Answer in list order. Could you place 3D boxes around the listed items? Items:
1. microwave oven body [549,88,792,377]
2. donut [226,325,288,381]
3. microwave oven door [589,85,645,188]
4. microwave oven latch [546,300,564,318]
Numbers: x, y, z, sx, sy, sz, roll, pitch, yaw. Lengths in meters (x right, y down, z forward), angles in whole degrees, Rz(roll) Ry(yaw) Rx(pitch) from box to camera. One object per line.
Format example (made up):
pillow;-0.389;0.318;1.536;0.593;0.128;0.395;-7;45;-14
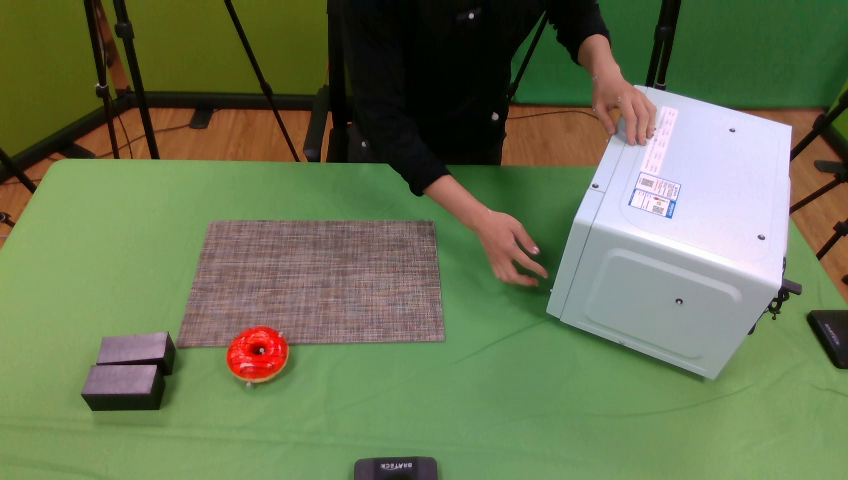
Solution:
microwave oven body;0.456;-0.028;1.088;0.325;0.261;0.440;20;47;16
donut;-0.270;0.182;0.984;0.099;0.048;0.098;5;49;-5
microwave oven door;0.342;-0.107;1.149;0.039;0.245;0.354;21;48;15
microwave oven latch;0.242;0.102;1.081;0.030;0.029;0.079;21;48;17
